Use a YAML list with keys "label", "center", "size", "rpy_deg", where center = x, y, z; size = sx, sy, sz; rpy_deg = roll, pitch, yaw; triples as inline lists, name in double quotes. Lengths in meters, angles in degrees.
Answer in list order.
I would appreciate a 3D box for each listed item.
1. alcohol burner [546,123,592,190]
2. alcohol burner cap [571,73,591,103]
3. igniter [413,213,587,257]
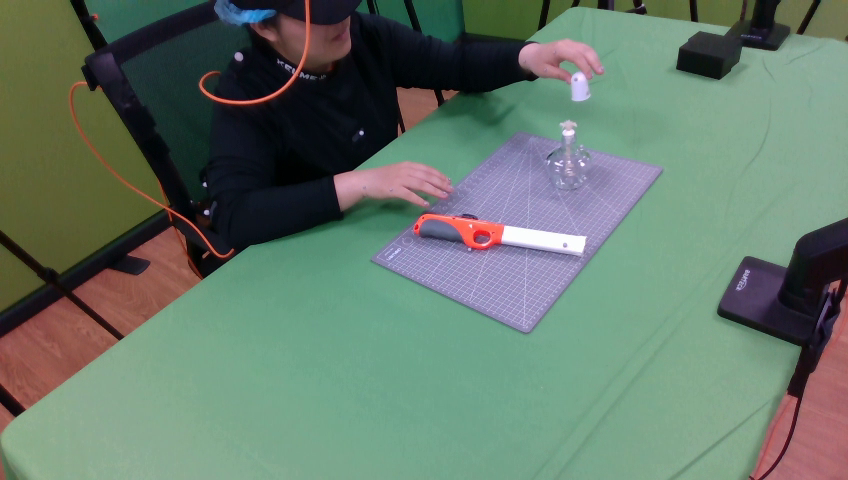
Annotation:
- label: "alcohol burner"
  center: [0.248, -0.147, 1.034]
  size: [0.078, 0.120, 0.077]
  rpy_deg: [-7, 41, 6]
- label: "alcohol burner cap"
  center: [0.269, -0.264, 1.042]
  size: [0.034, 0.048, 0.033]
  rpy_deg: [-11, 38, 10]
- label: "igniter"
  center: [0.116, -0.009, 0.959]
  size: [0.275, 0.025, 0.057]
  rpy_deg: [8, 65, 17]
